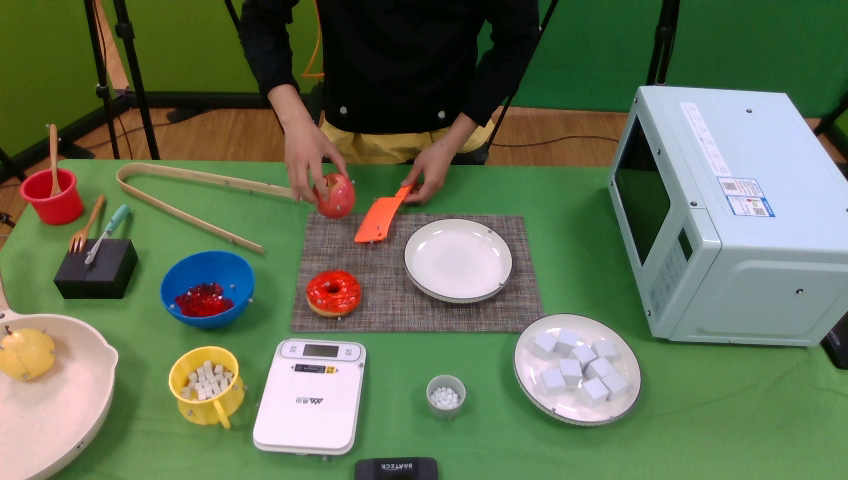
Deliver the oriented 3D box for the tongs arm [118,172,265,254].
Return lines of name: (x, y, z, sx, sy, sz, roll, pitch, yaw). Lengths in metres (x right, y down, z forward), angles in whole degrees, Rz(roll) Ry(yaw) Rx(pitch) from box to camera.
tongs arm: (-0.473, -0.054, 1.211, 0.386, 0.028, 0.028, 23, 57, 17)

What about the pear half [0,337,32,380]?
pear half: (-0.631, 0.184, 0.921, 0.070, 0.088, 0.031, 29, 49, 19)

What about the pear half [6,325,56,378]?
pear half: (-0.608, 0.158, 0.935, 0.076, 0.110, 0.056, 31, 51, 20)

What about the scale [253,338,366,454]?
scale: (-0.175, 0.236, 0.951, 0.149, 0.032, 0.199, 4, 45, 0)

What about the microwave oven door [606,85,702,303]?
microwave oven door: (0.422, -0.094, 1.140, 0.039, 0.245, 0.353, 2, 46, -1)

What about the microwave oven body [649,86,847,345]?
microwave oven body: (0.567, -0.053, 1.118, 0.326, 0.261, 0.439, 2, 45, -1)

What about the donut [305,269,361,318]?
donut: (-0.160, 0.094, 1.075, 0.099, 0.048, 0.098, 3, 45, -3)

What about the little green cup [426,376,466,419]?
little green cup: (0.033, 0.248, 0.950, 0.061, 0.039, 0.061, 2, 46, -2)

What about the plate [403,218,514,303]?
plate: (0.064, 0.042, 1.146, 0.209, 0.038, 0.208, 2, 46, -2)

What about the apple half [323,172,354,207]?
apple half: (-0.153, -0.098, 1.138, 0.081, 0.082, 0.033, 34, 62, 26)

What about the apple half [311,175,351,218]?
apple half: (-0.179, -0.074, 1.121, 0.080, 0.075, 0.053, 34, 62, 26)

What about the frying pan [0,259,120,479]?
frying pan: (-0.647, 0.164, 0.936, 0.307, 0.103, 0.485, -19, 58, -22)

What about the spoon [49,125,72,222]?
spoon: (-0.718, -0.131, 1.189, 0.041, 0.021, 0.193, -4, 90, -6)

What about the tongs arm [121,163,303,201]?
tongs arm: (-0.444, -0.114, 1.266, 0.384, 0.026, 0.050, 12, 51, 7)

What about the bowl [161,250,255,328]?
bowl: (-0.362, 0.098, 1.040, 0.151, 0.077, 0.150, 2, 45, -2)

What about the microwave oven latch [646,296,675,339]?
microwave oven latch: (0.412, 0.134, 1.061, 0.030, 0.029, 0.078, 4, 45, 1)

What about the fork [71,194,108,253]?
fork: (-0.634, -0.036, 1.158, 0.028, 0.019, 0.206, -8, 32, -8)

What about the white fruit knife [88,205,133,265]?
white fruit knife: (-0.584, -0.013, 1.129, 0.016, 0.027, 0.206, -1, 32, -5)

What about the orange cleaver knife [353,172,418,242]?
orange cleaver knife: (-0.076, -0.070, 1.243, 0.077, 0.012, 0.210, 7, 48, 27)

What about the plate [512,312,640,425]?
plate: (0.246, 0.213, 0.999, 0.208, 0.039, 0.206, 2, 46, -2)

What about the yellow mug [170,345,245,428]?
yellow mug: (-0.322, 0.230, 0.922, 0.100, 0.064, 0.130, -24, 53, -25)
